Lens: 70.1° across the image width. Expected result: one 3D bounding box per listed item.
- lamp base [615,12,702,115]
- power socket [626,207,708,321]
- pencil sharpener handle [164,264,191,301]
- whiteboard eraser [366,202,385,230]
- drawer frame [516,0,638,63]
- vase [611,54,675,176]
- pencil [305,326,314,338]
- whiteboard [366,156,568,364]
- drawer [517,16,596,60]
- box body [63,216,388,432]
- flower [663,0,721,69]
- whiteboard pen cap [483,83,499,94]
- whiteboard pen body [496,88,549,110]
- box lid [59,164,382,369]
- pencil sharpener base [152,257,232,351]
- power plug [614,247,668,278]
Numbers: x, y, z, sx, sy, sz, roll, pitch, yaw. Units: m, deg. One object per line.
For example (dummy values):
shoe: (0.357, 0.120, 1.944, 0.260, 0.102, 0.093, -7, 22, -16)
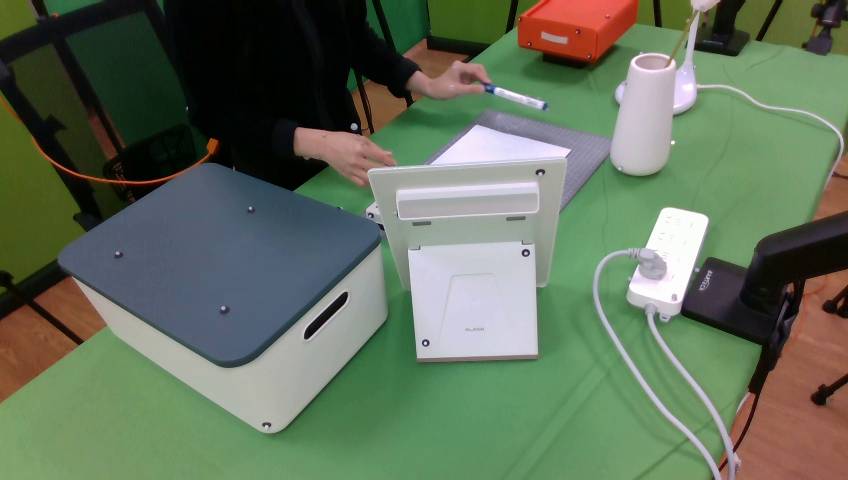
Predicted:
lamp base: (0.484, -0.363, 1.211, 0.180, 0.181, 0.159, -15, 41, -13)
power socket: (0.359, 0.025, 0.886, 0.072, 0.033, 0.227, 16, 46, 26)
pencil sharpener handle: (-0.354, 0.055, 0.866, 0.036, 0.068, 0.030, -17, 39, -29)
whiteboard eraser: (-0.038, -0.038, 1.006, 0.112, 0.042, 0.055, 16, 48, 25)
drawer frame: (0.355, -0.508, 1.411, 0.200, 0.083, 0.214, 23, 51, 32)
vase: (0.377, -0.209, 1.031, 0.098, 0.201, 0.097, -3, 40, 3)
pencil: (-0.187, 0.105, 0.879, 0.012, 0.012, 0.192, -27, 42, -22)
whiteboard: (0.059, 0.050, 0.738, 0.217, 0.307, 0.143, -2, 60, 6)
drawer: (0.352, -0.506, 1.405, 0.193, 0.073, 0.212, 23, 49, 32)
box body: (-0.256, 0.065, 0.827, 0.361, 0.161, 0.255, 20, 48, 29)
flower: (0.379, -0.261, 0.965, 0.044, 0.362, 0.038, 20, 53, 5)
whiteboard pen cap: (0.138, -0.309, 1.232, 0.033, 0.018, 0.018, 25, 49, 28)
whiteboard pen body: (0.186, -0.285, 1.207, 0.140, 0.017, 0.017, 25, 49, 26)
box lid: (-0.263, 0.010, 0.777, 0.368, 0.015, 0.264, 20, 47, 29)
pencil sharpener base: (-0.323, 0.088, 0.842, 0.061, 0.107, 0.076, -27, 44, -20)
power plug: (0.306, 0.031, 0.851, 0.072, 0.053, 0.035, 24, 49, 33)
